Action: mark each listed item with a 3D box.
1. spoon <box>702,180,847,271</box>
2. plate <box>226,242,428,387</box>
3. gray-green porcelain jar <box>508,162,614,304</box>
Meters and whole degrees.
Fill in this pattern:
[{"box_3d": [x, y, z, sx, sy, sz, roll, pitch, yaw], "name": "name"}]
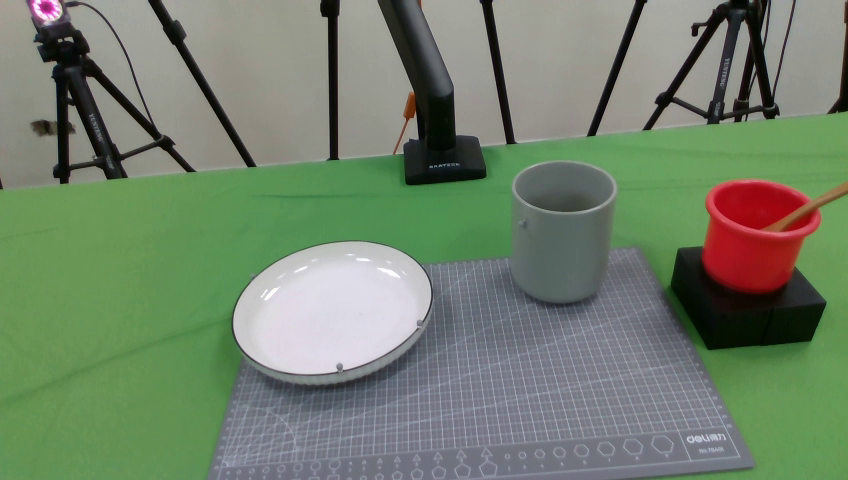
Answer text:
[{"box_3d": [0.348, -0.024, 0.553, 0.022, 0.194, 0.041, 37, 35, -21], "name": "spoon"}, {"box_3d": [-0.098, 0.078, 0.639, 0.207, 0.039, 0.205, -3, 36, 2], "name": "plate"}, {"box_3d": [0.143, -0.003, 0.646, 0.106, 0.127, 0.105, -3, 36, 3], "name": "gray-green porcelain jar"}]
